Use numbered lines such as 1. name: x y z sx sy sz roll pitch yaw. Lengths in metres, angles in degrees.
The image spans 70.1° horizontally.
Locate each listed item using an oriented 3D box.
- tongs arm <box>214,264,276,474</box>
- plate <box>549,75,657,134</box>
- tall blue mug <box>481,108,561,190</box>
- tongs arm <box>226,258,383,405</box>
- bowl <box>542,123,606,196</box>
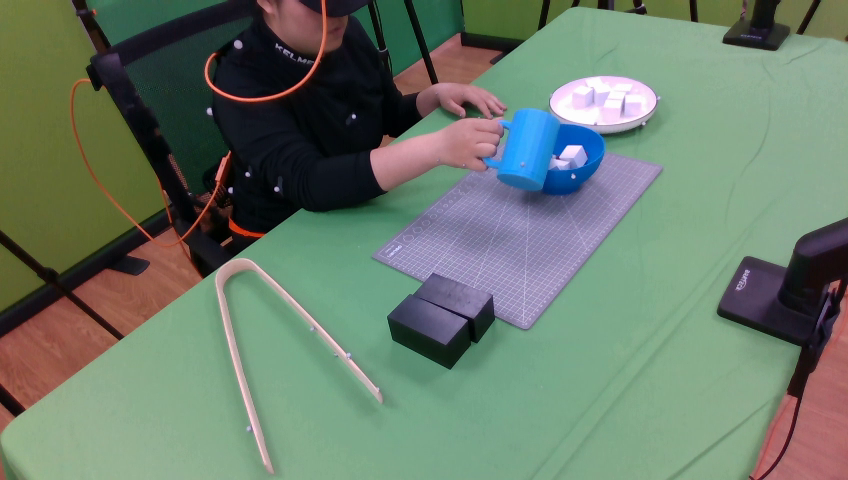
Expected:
1. tongs arm: -0.252 0.158 0.837 0.028 0.028 0.384 -27 43 -8
2. plate: 0.357 -0.268 1.220 0.209 0.038 0.208 -5 41 5
3. tall blue mug: 0.151 -0.146 0.950 0.107 0.077 0.108 17 84 -11
4. tongs arm: -0.185 0.121 0.863 0.051 0.027 0.381 -34 45 -20
5. bowl: 0.235 -0.131 1.045 0.151 0.077 0.150 -5 40 5
